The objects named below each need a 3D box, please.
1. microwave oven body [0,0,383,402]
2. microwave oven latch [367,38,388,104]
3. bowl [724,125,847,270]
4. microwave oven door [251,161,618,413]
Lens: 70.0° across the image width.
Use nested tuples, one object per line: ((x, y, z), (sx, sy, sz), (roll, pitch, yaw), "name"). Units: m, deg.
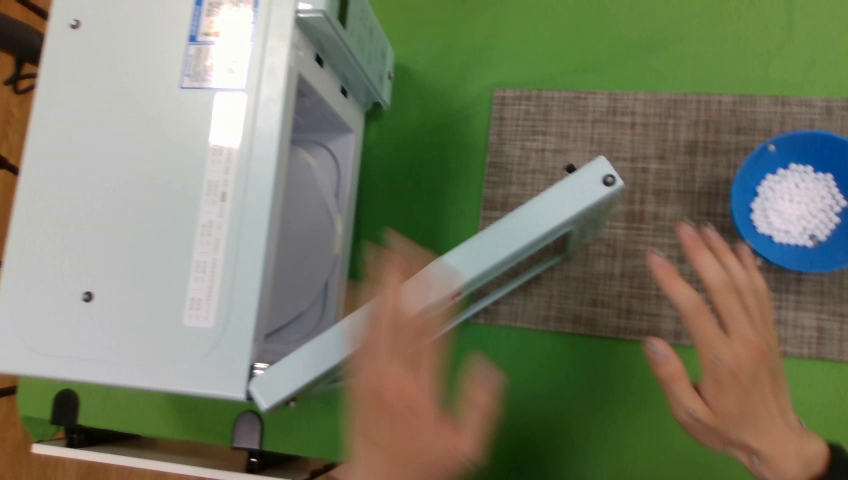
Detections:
((-0.241, -0.064, 0.687), (0.325, 0.261, 0.440), (3, 83, 11), "microwave oven body")
((-0.063, -0.216, 0.774), (0.030, 0.029, 0.079), (3, 83, 11), "microwave oven latch")
((0.395, -0.039, 0.652), (0.151, 0.077, 0.151), (-2, 81, 11), "bowl")
((0.025, 0.058, 0.612), (0.356, 0.245, 0.039), (-34, 76, 4), "microwave oven door")
